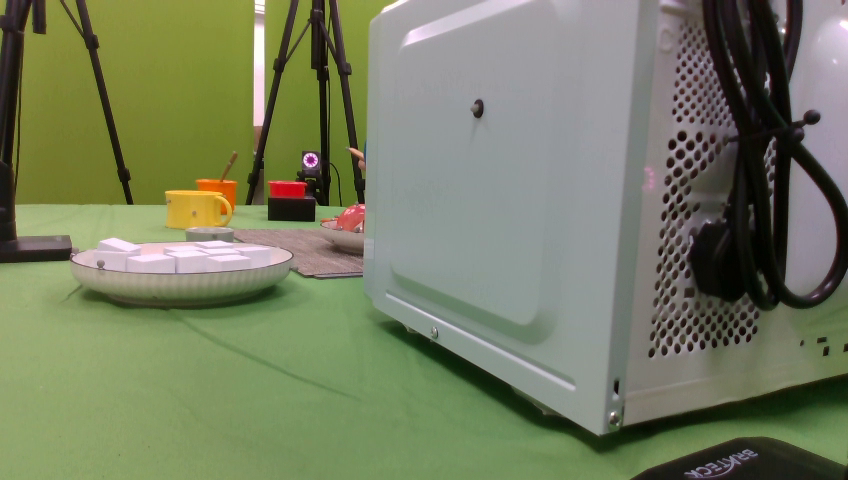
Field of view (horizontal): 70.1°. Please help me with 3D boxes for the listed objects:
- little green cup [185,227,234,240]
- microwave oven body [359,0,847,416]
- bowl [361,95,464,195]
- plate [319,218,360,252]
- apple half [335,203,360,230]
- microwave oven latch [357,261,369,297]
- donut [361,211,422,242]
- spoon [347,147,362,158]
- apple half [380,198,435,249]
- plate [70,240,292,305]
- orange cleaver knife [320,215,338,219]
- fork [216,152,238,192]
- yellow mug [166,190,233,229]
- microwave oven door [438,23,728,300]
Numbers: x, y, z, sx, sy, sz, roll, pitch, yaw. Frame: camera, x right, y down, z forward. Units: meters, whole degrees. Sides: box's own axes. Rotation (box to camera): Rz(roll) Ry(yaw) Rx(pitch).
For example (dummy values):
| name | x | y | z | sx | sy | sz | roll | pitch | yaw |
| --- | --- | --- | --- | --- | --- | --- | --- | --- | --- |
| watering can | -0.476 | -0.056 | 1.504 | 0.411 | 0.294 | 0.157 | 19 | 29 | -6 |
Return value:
| name | x | y | z | sx | sy | sz | roll | pitch | yaw |
| --- | --- | --- | --- | --- | --- | --- | --- | --- | --- |
| little green cup | -0.285 | 0.005 | 0.805 | 0.061 | 0.038 | 0.061 | 2 | 8 | 0 |
| microwave oven body | 0.211 | -0.047 | 0.474 | 0.444 | 0.260 | 0.324 | -1 | 7 | -28 |
| bowl | -0.003 | -0.115 | 0.841 | 0.152 | 0.151 | 0.076 | -2 | 40 | -29 |
| plate | -0.058 | -0.007 | 0.939 | 0.209 | 0.038 | 0.209 | 3 | 8 | 0 |
| apple half | -0.116 | -0.038 | 0.960 | 0.081 | 0.033 | 0.081 | -38 | 8 | 7 |
| microwave oven latch | -0.019 | 0.033 | 0.531 | 0.079 | 0.029 | 0.030 | -1 | 7 | -27 |
| donut | -0.051 | -0.020 | 0.958 | 0.099 | 0.048 | 0.099 | 4 | 6 | 0 |
| spoon | -0.081 | -0.121 | 1.007 | 0.042 | 0.021 | 0.192 | -3 | 32 | -34 |
| apple half | -0.020 | -0.030 | 0.890 | 0.081 | 0.053 | 0.074 | -3 | 49 | -25 |
| plate | -0.242 | 0.031 | 0.618 | 0.208 | 0.039 | 0.207 | 2 | 8 | 0 |
| orange cleaver knife | -0.142 | -0.057 | 1.394 | 0.077 | 0.012 | 0.212 | 3 | 7 | 44 |
| fork | -0.455 | -0.132 | 1.366 | 0.028 | 0.018 | 0.207 | -3 | -35 | -38 |
| yellow mug | -0.415 | -0.057 | 1.132 | 0.130 | 0.064 | 0.100 | 6 | 8 | 16 |
| microwave oven door | 0.181 | -0.072 | 0.621 | 0.358 | 0.243 | 0.039 | -2 | 8 | -29 |
